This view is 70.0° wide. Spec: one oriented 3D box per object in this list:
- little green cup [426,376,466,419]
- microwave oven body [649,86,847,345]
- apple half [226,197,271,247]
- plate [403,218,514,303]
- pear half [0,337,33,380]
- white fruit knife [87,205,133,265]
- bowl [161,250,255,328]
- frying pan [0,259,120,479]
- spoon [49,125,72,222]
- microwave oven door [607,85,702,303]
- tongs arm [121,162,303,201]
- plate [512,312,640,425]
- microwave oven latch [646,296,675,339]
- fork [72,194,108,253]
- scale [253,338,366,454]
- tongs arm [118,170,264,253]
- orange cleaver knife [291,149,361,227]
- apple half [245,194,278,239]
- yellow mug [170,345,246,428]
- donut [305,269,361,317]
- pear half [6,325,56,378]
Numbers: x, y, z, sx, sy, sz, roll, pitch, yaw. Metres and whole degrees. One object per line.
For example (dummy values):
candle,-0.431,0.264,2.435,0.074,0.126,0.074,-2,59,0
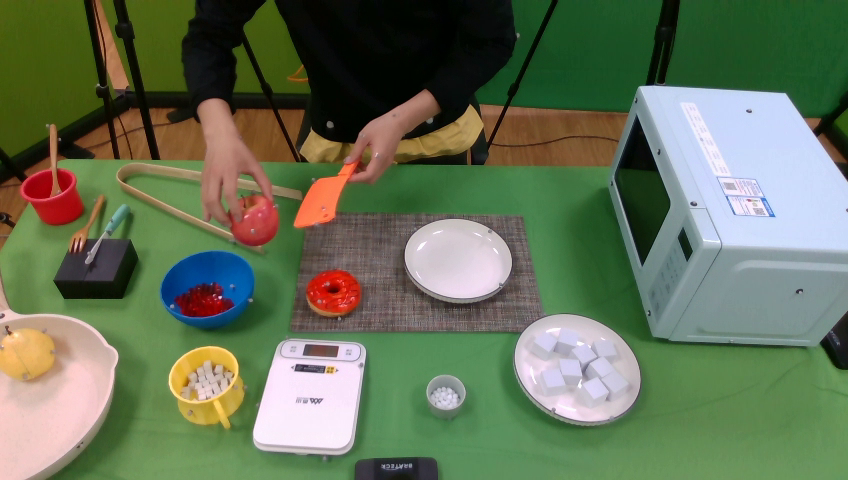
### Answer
little green cup,0.033,0.248,0.950,0.061,0.039,0.061,2,46,-2
microwave oven body,0.568,-0.053,1.118,0.326,0.261,0.439,2,45,-1
apple half,-0.290,-0.024,0.984,0.053,0.075,0.080,-34,50,-28
plate,0.064,0.042,1.146,0.209,0.038,0.208,2,46,-2
pear half,-0.631,0.184,0.921,0.070,0.088,0.031,29,49,19
white fruit knife,-0.584,-0.013,1.129,0.016,0.027,0.206,0,31,-5
bowl,-0.362,0.098,1.039,0.151,0.077,0.150,2,45,-2
frying pan,-0.647,0.164,0.936,0.307,0.103,0.485,-19,58,-22
spoon,-0.718,-0.131,1.189,0.041,0.021,0.193,-3,90,-6
microwave oven door,0.423,-0.094,1.140,0.039,0.245,0.353,2,46,-1
tongs arm,-0.444,-0.115,1.266,0.384,0.026,0.050,12,49,8
plate,0.246,0.213,0.999,0.208,0.039,0.206,2,46,-2
microwave oven latch,0.412,0.134,1.061,0.030,0.029,0.078,4,45,1
fork,-0.634,-0.036,1.158,0.028,0.019,0.206,-8,32,-8
scale,-0.175,0.236,0.951,0.149,0.032,0.199,4,45,0
tongs arm,-0.473,-0.057,1.210,0.386,0.028,0.028,24,55,18
orange cleaver knife,-0.165,-0.092,1.044,0.077,0.012,0.210,0,42,19
apple half,-0.261,-0.043,1.003,0.033,0.082,0.081,-34,57,-26
yellow mug,-0.322,0.230,0.922,0.100,0.064,0.130,-24,53,-25
donut,-0.160,0.094,1.075,0.099,0.048,0.098,4,46,-4
pear half,-0.608,0.158,0.935,0.076,0.110,0.056,31,51,20
